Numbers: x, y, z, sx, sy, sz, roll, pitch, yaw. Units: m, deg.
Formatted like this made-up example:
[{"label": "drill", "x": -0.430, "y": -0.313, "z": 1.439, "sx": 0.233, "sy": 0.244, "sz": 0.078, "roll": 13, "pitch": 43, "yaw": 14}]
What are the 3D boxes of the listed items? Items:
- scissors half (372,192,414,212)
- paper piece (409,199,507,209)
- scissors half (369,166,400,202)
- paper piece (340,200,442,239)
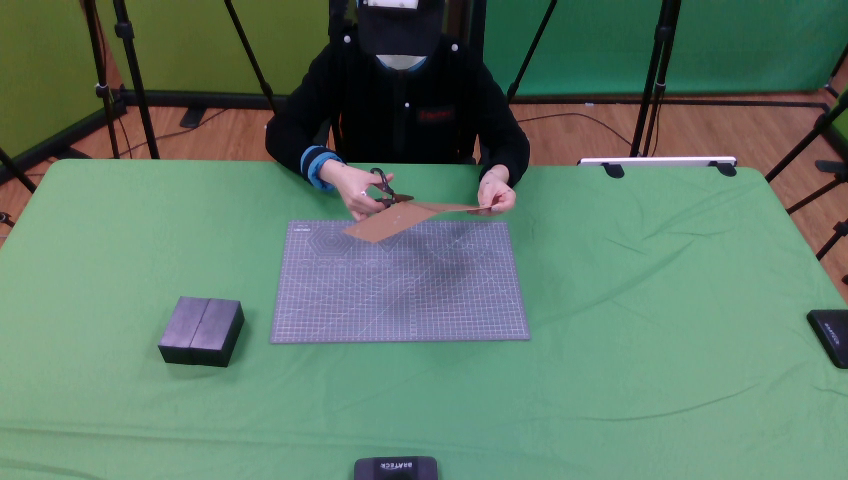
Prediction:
[{"label": "scissors half", "x": -0.058, "y": -0.071, "z": 1.135, "sx": 0.013, "sy": 0.175, "sz": 0.040, "roll": -13, "pitch": 91, "yaw": -27}, {"label": "paper piece", "x": 0.054, "y": -0.063, "z": 1.081, "sx": 0.138, "sy": 0.008, "sz": 0.135, "roll": 0, "pitch": 11, "yaw": -31}, {"label": "scissors half", "x": -0.060, "y": -0.094, "z": 1.128, "sx": 0.013, "sy": 0.040, "sz": 0.174, "roll": -18, "pitch": 40, "yaw": -25}, {"label": "paper piece", "x": -0.058, "y": -0.037, "z": 1.017, "sx": 0.136, "sy": 0.004, "sz": 0.135, "roll": -26, "pitch": 22, "yaw": -25}]
